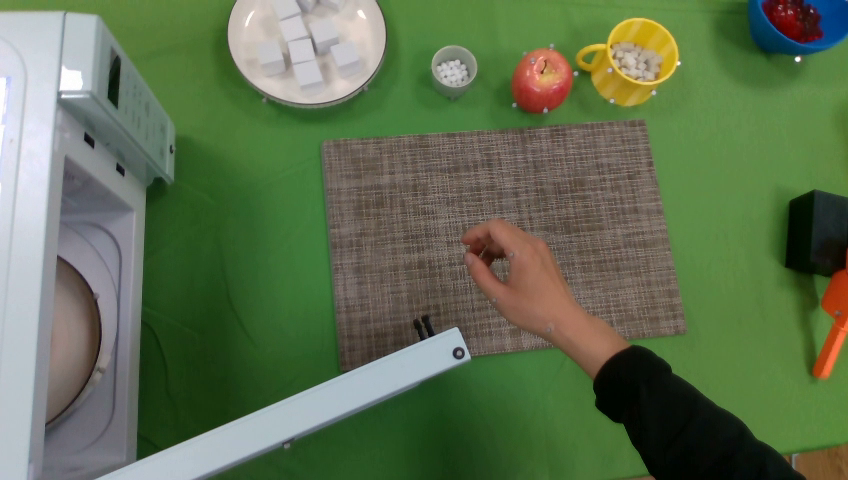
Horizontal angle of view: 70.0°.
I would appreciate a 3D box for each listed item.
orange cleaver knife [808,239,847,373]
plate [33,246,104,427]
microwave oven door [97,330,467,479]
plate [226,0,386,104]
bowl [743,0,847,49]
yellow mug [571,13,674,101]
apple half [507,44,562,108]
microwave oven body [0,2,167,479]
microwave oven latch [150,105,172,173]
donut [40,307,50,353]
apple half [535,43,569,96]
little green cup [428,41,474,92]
[{"bbox_3d":[0.538,0.069,0.782,0.012,0.077,0.212,14,108,0],"label":"orange cleaver knife"},{"bbox_3d":[-0.443,0.102,0.635,0.209,0.038,0.208,1,78,-6],"label":"plate"},{"bbox_3d":[-0.139,0.172,0.592,0.356,0.244,0.039,-22,79,-10],"label":"microwave oven door"},{"bbox_3d":[-0.155,-0.275,0.813,0.208,0.039,0.206,1,77,-5],"label":"plate"},{"bbox_3d":[0.523,-0.334,0.876,0.151,0.077,0.150,1,78,-5],"label":"bowl"},{"bbox_3d":[0.269,-0.254,0.838,0.131,0.064,0.099,5,76,-4],"label":"yellow mug"},{"bbox_3d":[0.141,-0.212,0.812,0.053,0.075,0.080,-32,86,-7],"label":"apple half"},{"bbox_3d":[-0.453,0.033,0.595,0.326,0.261,0.439,-2,78,-7],"label":"microwave oven body"},{"bbox_3d":[-0.326,-0.123,0.742,0.030,0.029,0.079,-1,78,-6],"label":"microwave oven latch"},{"bbox_3d":[-0.441,0.095,0.624,0.099,0.048,0.098,2,79,-7],"label":"donut"},{"bbox_3d":[0.174,-0.232,0.819,0.033,0.081,0.081,-32,82,-7],"label":"apple half"},{"bbox_3d":[0.035,-0.233,0.823,0.061,0.039,0.061,1,77,-5],"label":"little green cup"}]
